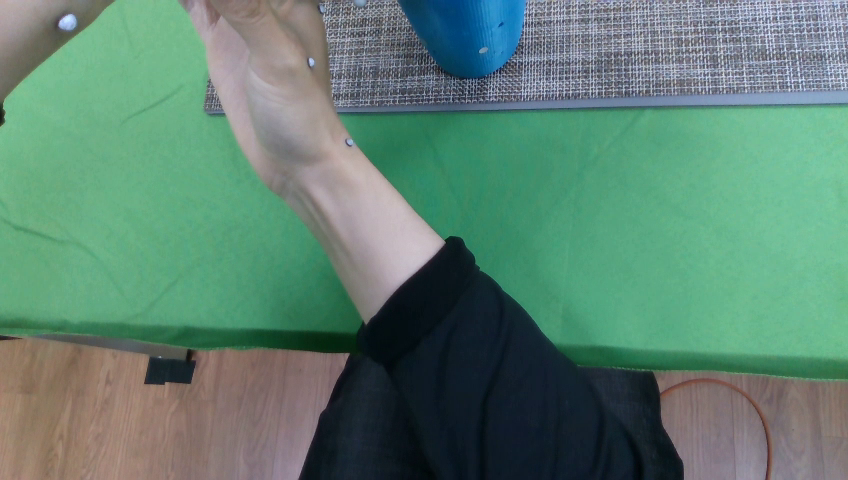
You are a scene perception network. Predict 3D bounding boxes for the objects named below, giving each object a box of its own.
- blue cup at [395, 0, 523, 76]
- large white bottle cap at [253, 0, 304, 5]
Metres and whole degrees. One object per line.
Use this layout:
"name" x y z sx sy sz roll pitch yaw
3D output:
"blue cup" 0.023 -0.152 0.370 0.092 0.101 0.092 -3 74 11
"large white bottle cap" -0.105 -0.233 0.459 0.114 0.018 0.114 -2 75 9
